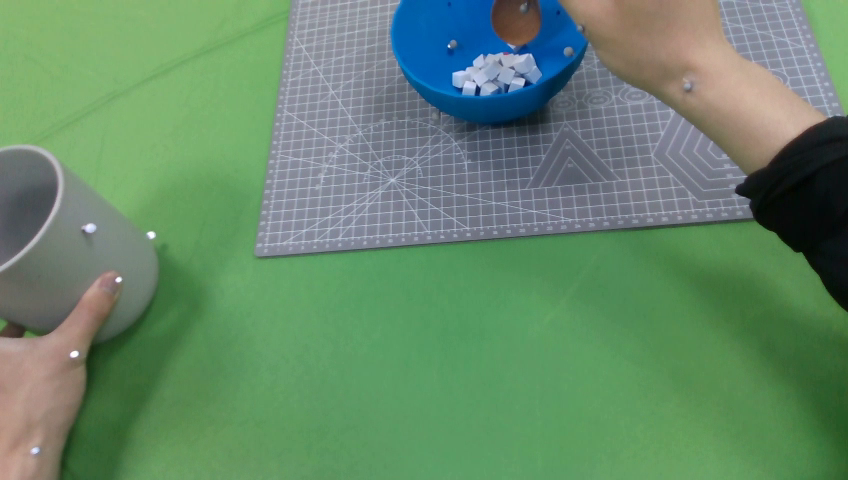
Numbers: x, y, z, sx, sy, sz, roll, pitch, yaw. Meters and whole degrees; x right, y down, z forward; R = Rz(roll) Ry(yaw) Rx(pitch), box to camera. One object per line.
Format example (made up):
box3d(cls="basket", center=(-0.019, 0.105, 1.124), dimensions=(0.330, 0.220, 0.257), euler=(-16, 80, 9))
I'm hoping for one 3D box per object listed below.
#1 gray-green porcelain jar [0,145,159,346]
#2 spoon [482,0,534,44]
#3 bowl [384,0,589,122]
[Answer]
box3d(cls="gray-green porcelain jar", center=(-0.263, 0.012, 0.430), dimensions=(0.106, 0.127, 0.105), euler=(-5, 61, 9))
box3d(cls="spoon", center=(0.067, -0.174, 0.389), dimensions=(0.041, 0.194, 0.021), euler=(32, 86, -1))
box3d(cls="bowl", center=(0.050, -0.147, 0.476), dimensions=(0.151, 0.077, 0.150), euler=(-4, 62, 9))
